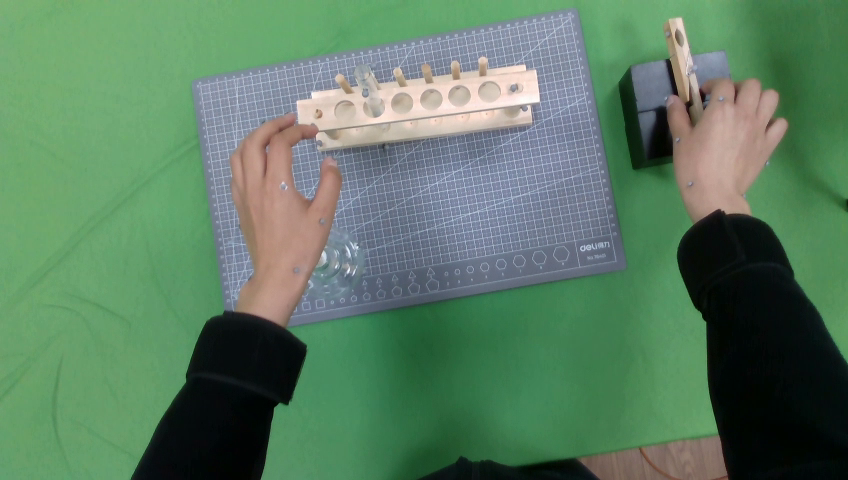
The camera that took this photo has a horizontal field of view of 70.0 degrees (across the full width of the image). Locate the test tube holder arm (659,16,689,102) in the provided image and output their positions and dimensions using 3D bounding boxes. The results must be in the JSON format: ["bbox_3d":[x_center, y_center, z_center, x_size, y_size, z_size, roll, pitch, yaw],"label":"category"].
[{"bbox_3d":[0.259,-0.186,0.623,0.010,0.015,0.087,-13,87,-2],"label":"test tube holder arm"}]

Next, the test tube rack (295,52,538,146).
[{"bbox_3d":[-0.008,-0.156,0.645,0.242,0.085,0.066,-7,86,2],"label":"test tube rack"}]

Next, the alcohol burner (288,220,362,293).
[{"bbox_3d":[-0.105,0.016,0.626,0.078,0.119,0.077,0,85,1],"label":"alcohol burner"}]

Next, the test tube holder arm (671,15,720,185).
[{"bbox_3d":[0.276,-0.143,0.621,0.013,0.015,0.178,-15,87,-2],"label":"test tube holder arm"}]

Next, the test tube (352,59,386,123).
[{"bbox_3d":[-0.052,-0.142,0.597,0.017,0.150,0.017,0,85,2],"label":"test tube"}]
